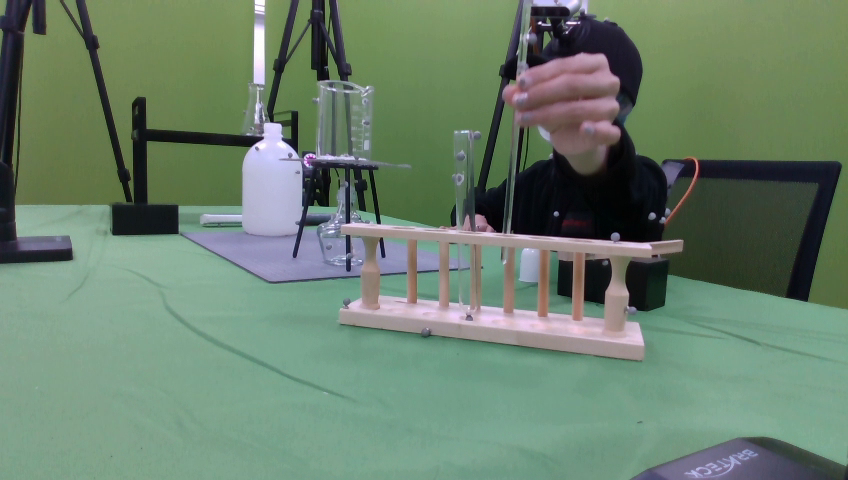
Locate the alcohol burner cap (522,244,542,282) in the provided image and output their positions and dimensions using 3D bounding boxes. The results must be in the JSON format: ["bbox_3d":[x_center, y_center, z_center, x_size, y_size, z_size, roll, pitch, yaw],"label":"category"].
[{"bbox_3d":[0.137,0.026,0.741,0.034,0.048,0.034,1,6,0],"label":"alcohol burner cap"}]

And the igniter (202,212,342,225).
[{"bbox_3d":[-0.298,-0.043,1.216,0.278,0.025,0.057,-3,-2,-32],"label":"igniter"}]

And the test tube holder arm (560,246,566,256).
[{"bbox_3d":[0.173,0.007,0.612,0.088,0.015,0.010,-3,9,-30],"label":"test tube holder arm"}]

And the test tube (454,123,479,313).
[{"bbox_3d":[0.034,-0.016,0.476,0.017,0.150,0.017,-2,9,1],"label":"test tube"}]

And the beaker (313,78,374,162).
[{"bbox_3d":[-0.101,-0.150,0.773,0.074,0.100,0.083,-2,8,-40],"label":"beaker"}]

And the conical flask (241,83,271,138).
[{"bbox_3d":[-0.384,-0.297,1.393,0.075,0.122,0.075,2,7,0],"label":"conical flask"}]

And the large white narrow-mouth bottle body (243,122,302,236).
[{"bbox_3d":[-0.265,-0.109,1.061,0.102,0.194,0.102,2,8,0],"label":"large white narrow-mouth bottle body"}]

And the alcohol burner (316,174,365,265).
[{"bbox_3d":[-0.102,-0.028,0.790,0.078,0.119,0.078,0,6,0],"label":"alcohol burner"}]

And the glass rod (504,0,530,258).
[{"bbox_3d":[0.072,-0.084,0.464,0.008,0.199,0.008,3,9,0],"label":"glass rod"}]

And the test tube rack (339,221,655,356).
[{"bbox_3d":[0.056,0.032,0.495,0.242,0.085,0.067,4,7,15],"label":"test tube rack"}]

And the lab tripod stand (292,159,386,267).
[{"bbox_3d":[-0.105,-0.039,0.797,0.148,0.131,0.148,2,5,0],"label":"lab tripod stand"}]

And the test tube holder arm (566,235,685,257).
[{"bbox_3d":[0.214,0.006,0.630,0.179,0.015,0.013,-3,9,-31],"label":"test tube holder arm"}]

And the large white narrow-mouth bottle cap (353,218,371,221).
[{"bbox_3d":[-0.121,-0.029,1.184,0.038,0.024,0.037,2,8,0],"label":"large white narrow-mouth bottle cap"}]

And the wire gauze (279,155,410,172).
[{"bbox_3d":[-0.103,-0.103,0.785,0.121,0.011,0.126,11,8,42],"label":"wire gauze"}]
